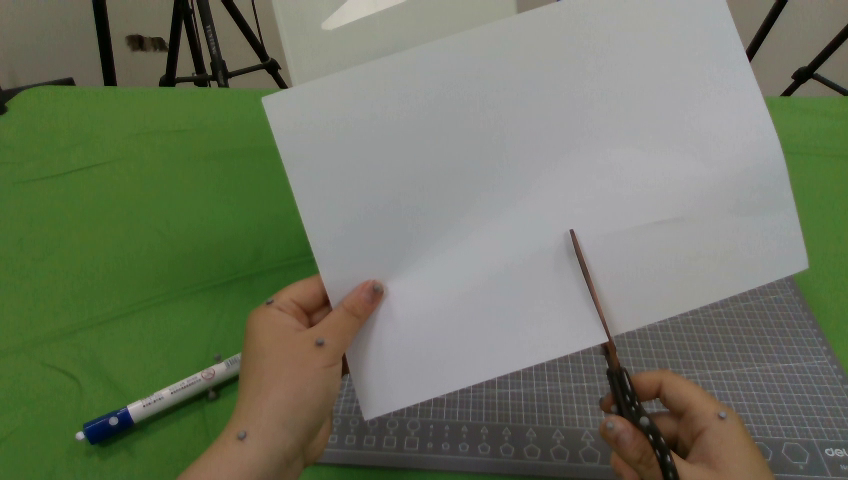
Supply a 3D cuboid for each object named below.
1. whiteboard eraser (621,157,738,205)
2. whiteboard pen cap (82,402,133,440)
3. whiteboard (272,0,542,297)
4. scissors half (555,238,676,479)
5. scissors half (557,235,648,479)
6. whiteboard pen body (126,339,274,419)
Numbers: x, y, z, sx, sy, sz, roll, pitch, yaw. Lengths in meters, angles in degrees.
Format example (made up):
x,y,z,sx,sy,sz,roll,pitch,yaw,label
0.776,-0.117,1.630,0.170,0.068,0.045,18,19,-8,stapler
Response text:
x,y,z,sx,sy,sz,roll,pitch,yaw,label
0.279,-0.065,0.668,0.113,0.042,0.055,0,42,1,whiteboard eraser
-0.233,0.133,0.450,0.033,0.018,0.018,-25,45,-27,whiteboard pen cap
-0.025,-0.135,0.602,0.218,0.307,0.142,-17,21,-17,whiteboard
0.109,0.074,0.349,0.013,0.040,0.173,-22,63,5,scissors half
0.113,0.079,0.370,0.013,0.040,0.175,-20,86,1,scissors half
-0.185,0.113,0.476,0.141,0.017,0.017,-23,44,-27,whiteboard pen body
